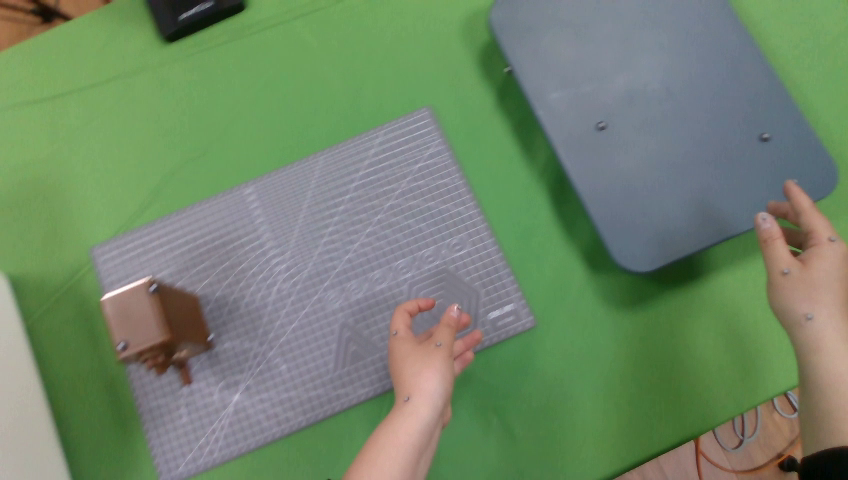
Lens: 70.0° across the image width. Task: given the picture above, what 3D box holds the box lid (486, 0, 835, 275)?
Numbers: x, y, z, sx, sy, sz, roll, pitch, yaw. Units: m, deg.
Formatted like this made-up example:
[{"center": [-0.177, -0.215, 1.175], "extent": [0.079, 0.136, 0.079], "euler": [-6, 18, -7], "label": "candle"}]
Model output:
[{"center": [0.253, -0.169, 0.680], "extent": [0.263, 0.015, 0.369], "euler": [-23, 75, -2], "label": "box lid"}]

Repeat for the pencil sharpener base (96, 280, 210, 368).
[{"center": [-0.284, 0.096, 0.645], "extent": [0.061, 0.107, 0.076], "euler": [-23, 75, -2], "label": "pencil sharpener base"}]

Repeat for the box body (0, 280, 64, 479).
[{"center": [-0.544, 0.217, 0.609], "extent": [0.254, 0.161, 0.362], "euler": [-26, 75, -3], "label": "box body"}]

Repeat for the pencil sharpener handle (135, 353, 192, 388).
[{"center": [-0.263, 0.137, 0.621], "extent": [0.036, 0.068, 0.030], "euler": [-25, 75, 6], "label": "pencil sharpener handle"}]
